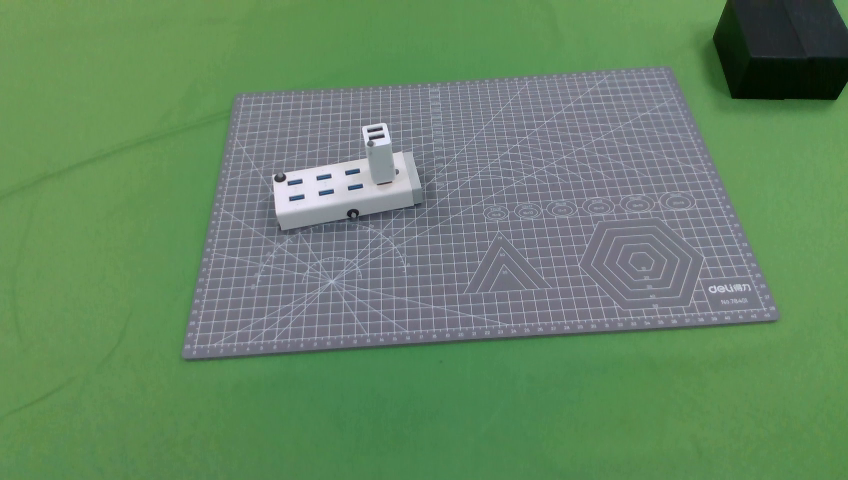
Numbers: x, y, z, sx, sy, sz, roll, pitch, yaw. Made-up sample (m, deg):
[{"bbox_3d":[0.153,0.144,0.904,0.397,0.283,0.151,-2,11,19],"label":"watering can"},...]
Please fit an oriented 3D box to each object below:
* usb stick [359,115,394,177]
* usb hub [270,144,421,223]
[{"bbox_3d":[-0.039,-0.073,0.504,0.021,0.060,0.027,-13,52,-6],"label":"usb stick"},{"bbox_3d":[-0.069,-0.051,0.529,0.125,0.025,0.049,-11,54,-5],"label":"usb hub"}]
